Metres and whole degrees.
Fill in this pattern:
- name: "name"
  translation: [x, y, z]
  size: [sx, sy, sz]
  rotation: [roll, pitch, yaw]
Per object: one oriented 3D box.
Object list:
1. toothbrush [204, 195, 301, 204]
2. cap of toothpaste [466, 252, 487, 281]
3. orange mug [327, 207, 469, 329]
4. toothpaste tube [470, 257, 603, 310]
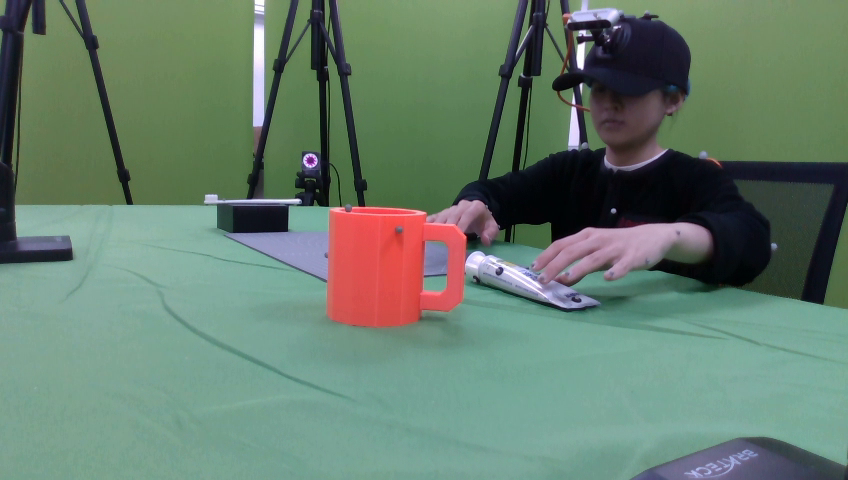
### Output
- name: "toothbrush"
  translation: [-0.314, -0.074, 1.120]
  size: [0.183, 0.016, 0.014]
  rotation: [-2, 4, -36]
- name: "cap of toothpaste"
  translation: [0.064, 0.033, 0.720]
  size: [0.037, 0.037, 0.011]
  rotation: [-3, 13, -39]
- name: "orange mug"
  translation: [-0.024, 0.021, 0.535]
  size: [0.126, 0.100, 0.083]
  rotation: [-1, 6, 8]
- name: "toothpaste tube"
  translation: [0.110, 0.049, 0.659]
  size: [0.055, 0.034, 0.164]
  rotation: [-8, 16, -37]
